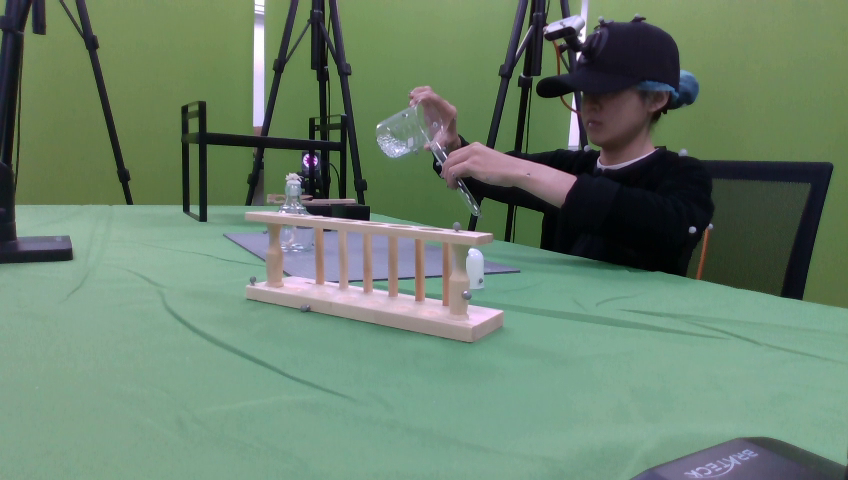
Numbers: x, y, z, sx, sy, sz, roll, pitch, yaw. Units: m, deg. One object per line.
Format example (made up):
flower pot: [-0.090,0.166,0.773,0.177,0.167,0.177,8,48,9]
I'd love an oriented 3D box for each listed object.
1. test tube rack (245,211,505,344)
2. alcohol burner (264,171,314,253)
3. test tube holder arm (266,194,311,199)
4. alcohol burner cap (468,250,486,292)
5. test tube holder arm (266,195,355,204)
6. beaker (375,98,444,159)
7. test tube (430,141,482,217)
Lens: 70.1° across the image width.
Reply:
test tube rack: [-0.049,0.025,0.547,0.241,0.085,0.067,7,8,29]
alcohol burner: [-0.194,-0.042,0.888,0.078,0.119,0.078,3,5,0]
test tube holder arm: [-0.262,-0.084,1.173,0.088,0.010,0.015,-3,2,-30]
alcohol burner cap: [0.056,0.035,0.690,0.034,0.048,0.034,2,7,0]
test tube holder arm: [-0.222,-0.081,1.196,0.179,0.013,0.015,-4,3,-30]
beaker: [-0.027,-0.183,1.029,0.100,0.084,0.074,-17,-12,36]
test tube: [0.051,-0.098,0.970,0.017,0.149,0.017,-27,-20,-10]
